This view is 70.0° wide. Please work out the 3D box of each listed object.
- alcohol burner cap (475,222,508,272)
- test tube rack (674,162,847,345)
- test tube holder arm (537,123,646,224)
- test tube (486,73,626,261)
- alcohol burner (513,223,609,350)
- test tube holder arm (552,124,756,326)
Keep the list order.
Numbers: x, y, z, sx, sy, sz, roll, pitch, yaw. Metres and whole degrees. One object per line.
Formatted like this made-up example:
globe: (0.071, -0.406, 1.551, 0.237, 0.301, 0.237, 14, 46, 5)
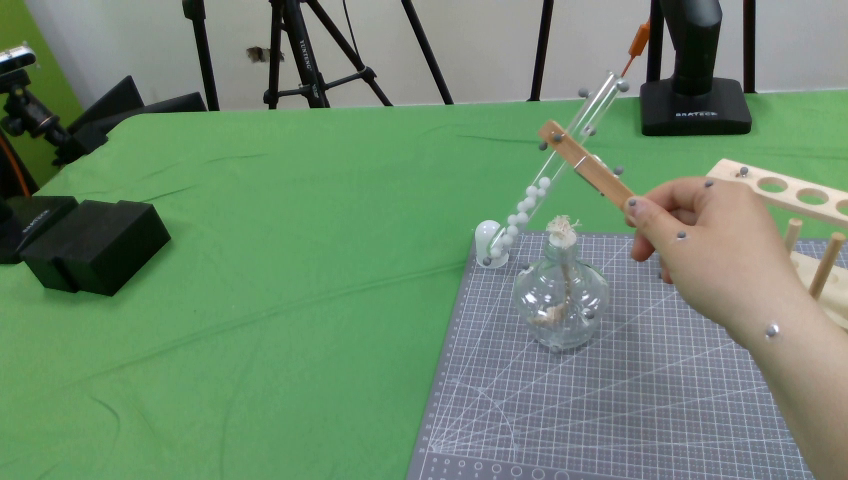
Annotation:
alcohol burner cap: (0.064, 0.004, 0.585, 0.034, 0.048, 0.033, -6, 40, 5)
test tube rack: (0.326, 0.024, 0.463, 0.240, 0.086, 0.066, 27, 53, 38)
test tube holder arm: (0.111, -0.045, 0.404, 0.087, 0.015, 0.010, 44, 24, 10)
test tube: (0.088, -0.046, 0.419, 0.017, 0.150, 0.017, 29, 19, -10)
alcohol burner: (0.109, 0.032, 0.482, 0.078, 0.120, 0.077, -6, 41, 5)
test tube holder arm: (0.143, -0.014, 0.398, 0.177, 0.015, 0.013, 47, 25, 16)
